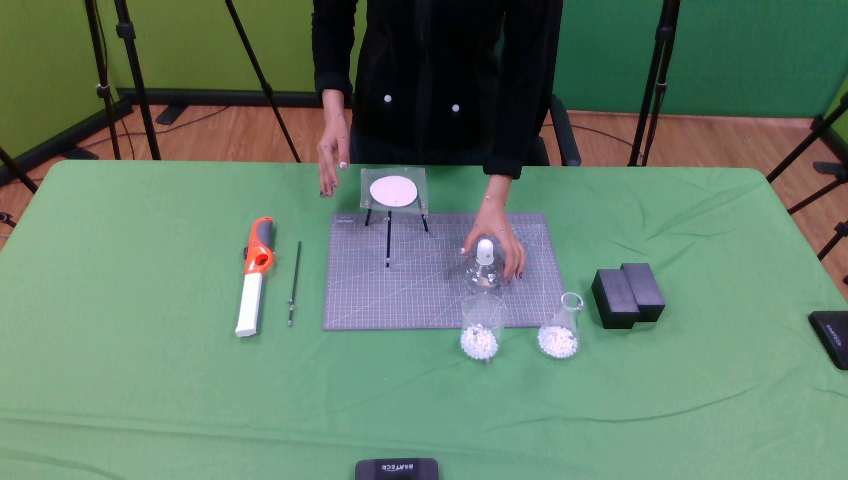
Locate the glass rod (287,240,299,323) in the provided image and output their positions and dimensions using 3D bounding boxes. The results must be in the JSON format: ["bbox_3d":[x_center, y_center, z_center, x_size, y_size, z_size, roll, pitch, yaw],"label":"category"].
[{"bbox_3d":[-0.242,0.072,1.119,0.008,0.008,0.198,-1,46,-5],"label":"glass rod"}]

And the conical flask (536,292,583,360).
[{"bbox_3d":[0.234,0.139,1.015,0.075,0.122,0.075,2,46,-2],"label":"conical flask"}]

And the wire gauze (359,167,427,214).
[{"bbox_3d":[-0.059,-0.093,1.110,0.125,0.011,0.120,2,45,-4],"label":"wire gauze"}]

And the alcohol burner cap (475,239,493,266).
[{"bbox_3d":[0.107,0.020,1.071,0.034,0.048,0.033,-2,45,2],"label":"alcohol burner cap"}]

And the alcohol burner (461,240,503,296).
[{"bbox_3d":[0.106,0.045,1.098,0.078,0.120,0.077,1,44,-1],"label":"alcohol burner"}]

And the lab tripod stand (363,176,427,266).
[{"bbox_3d":[-0.058,-0.047,1.159,0.148,0.132,0.147,3,44,-2],"label":"lab tripod stand"}]

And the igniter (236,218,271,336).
[{"bbox_3d":[-0.312,0.058,1.115,0.057,0.025,0.274,-9,46,2],"label":"igniter"}]

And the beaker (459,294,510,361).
[{"bbox_3d":[0.095,0.147,1.012,0.083,0.101,0.074,26,49,21],"label":"beaker"}]
